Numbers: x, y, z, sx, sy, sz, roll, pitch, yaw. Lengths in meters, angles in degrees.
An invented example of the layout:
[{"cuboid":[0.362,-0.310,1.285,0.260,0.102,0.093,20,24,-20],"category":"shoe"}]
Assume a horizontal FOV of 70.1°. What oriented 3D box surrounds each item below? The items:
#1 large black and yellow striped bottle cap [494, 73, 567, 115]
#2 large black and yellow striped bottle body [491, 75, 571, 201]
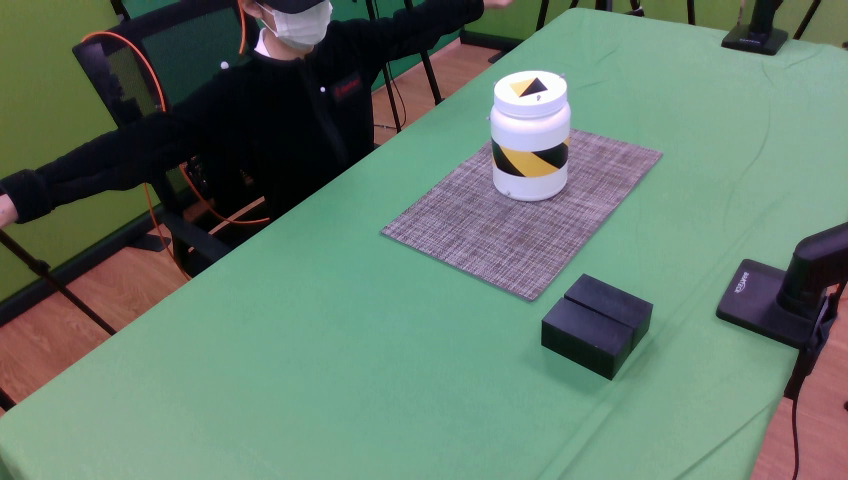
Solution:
[{"cuboid":[0.169,-0.235,0.964,0.115,0.019,0.114,-5,39,5],"category":"large black and yellow striped bottle cap"},{"cuboid":[0.179,-0.172,1.019,0.131,0.185,0.130,-5,41,5],"category":"large black and yellow striped bottle body"}]
